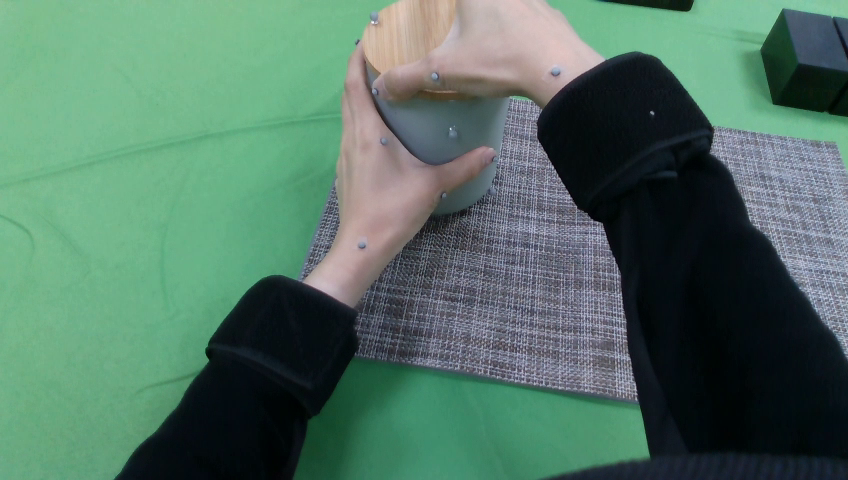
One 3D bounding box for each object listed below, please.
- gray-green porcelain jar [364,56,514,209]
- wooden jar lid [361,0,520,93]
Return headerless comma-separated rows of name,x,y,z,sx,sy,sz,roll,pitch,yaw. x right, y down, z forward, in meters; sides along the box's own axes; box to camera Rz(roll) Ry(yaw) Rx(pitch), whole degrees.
gray-green porcelain jar,0.008,-0.095,0.465,0.106,0.127,0.105,2,52,-2
wooden jar lid,0.011,-0.134,0.416,0.108,0.021,0.107,1,53,-1
